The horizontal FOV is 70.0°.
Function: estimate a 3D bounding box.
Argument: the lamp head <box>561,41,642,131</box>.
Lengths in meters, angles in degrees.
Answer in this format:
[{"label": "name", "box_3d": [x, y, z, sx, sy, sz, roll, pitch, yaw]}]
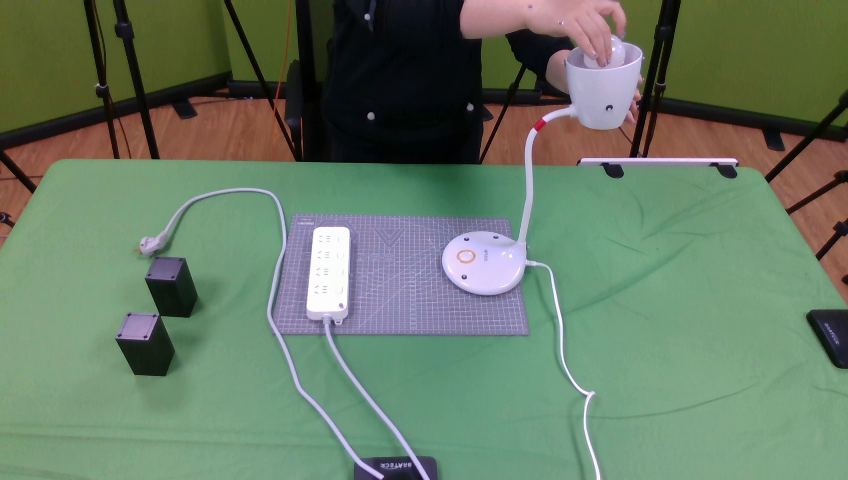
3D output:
[{"label": "lamp head", "box_3d": [0.269, -0.230, 0.934, 0.112, 0.123, 0.112, -2, 37, 2]}]

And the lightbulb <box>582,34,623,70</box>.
[{"label": "lightbulb", "box_3d": [0.270, -0.256, 0.918, 0.059, 0.108, 0.059, -5, 30, 3]}]

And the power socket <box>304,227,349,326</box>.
[{"label": "power socket", "box_3d": [-0.177, 0.059, 1.115, 0.072, 0.033, 0.225, -1, 46, -4]}]

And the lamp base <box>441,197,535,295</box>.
[{"label": "lamp base", "box_3d": [0.130, -0.012, 1.105, 0.179, 0.181, 0.159, -1, 46, -9]}]

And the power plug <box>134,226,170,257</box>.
[{"label": "power plug", "box_3d": [-0.515, 0.006, 1.153, 0.052, 0.035, 0.072, -6, 24, 7]}]
